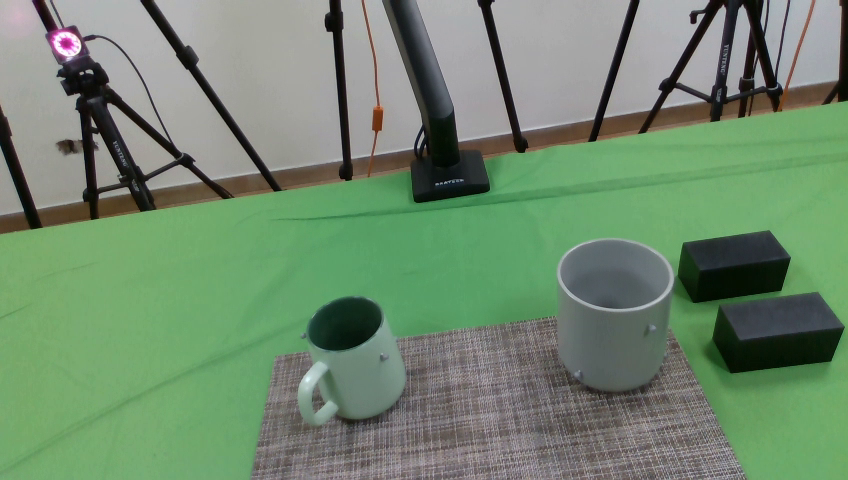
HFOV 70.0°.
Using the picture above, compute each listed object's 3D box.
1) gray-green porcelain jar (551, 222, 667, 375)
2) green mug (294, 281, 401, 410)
[{"bbox_3d":[0.181,0.063,0.605,0.106,0.128,0.105,-7,39,6],"label":"gray-green porcelain jar"},{"bbox_3d":[-0.084,0.117,0.616,0.092,0.106,0.125,16,46,28],"label":"green mug"}]
